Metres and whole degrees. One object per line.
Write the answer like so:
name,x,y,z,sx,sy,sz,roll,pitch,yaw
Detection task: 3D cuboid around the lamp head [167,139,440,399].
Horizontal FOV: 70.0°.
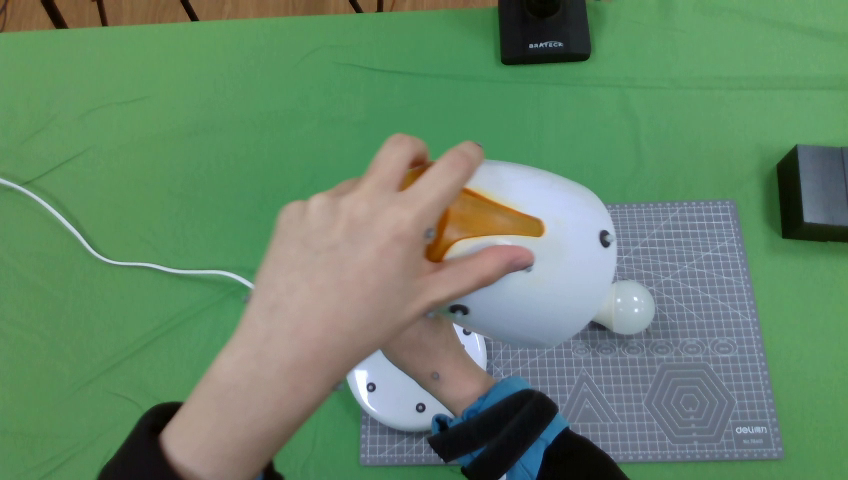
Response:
lamp head,-0.067,0.027,0.294,0.113,0.123,0.111,17,60,-32

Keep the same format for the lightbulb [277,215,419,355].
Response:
lightbulb,-0.037,0.025,0.279,0.060,0.108,0.059,3,75,-11

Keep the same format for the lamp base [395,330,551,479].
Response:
lamp base,0.037,0.148,0.589,0.179,0.181,0.159,8,71,11
